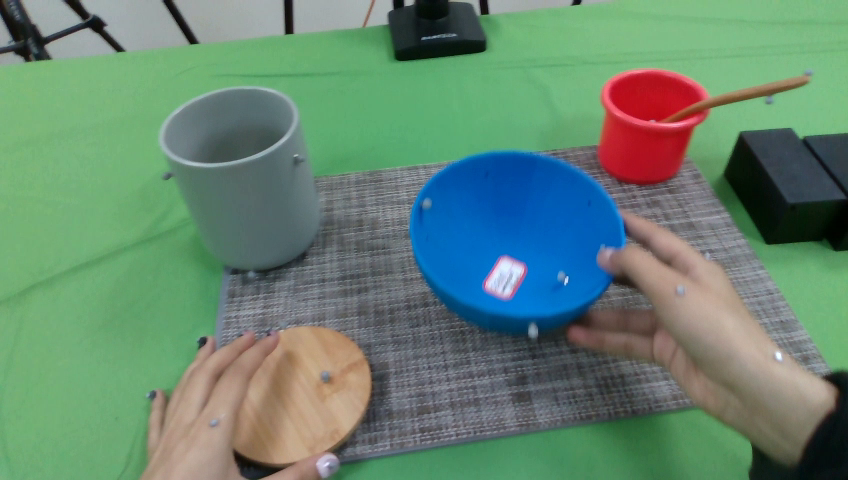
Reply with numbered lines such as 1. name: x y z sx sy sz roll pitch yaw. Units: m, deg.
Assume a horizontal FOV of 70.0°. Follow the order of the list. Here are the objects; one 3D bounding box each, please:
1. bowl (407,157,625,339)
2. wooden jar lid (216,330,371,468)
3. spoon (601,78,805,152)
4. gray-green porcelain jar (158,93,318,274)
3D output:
1. bowl: 0.063 0.018 0.448 0.151 0.077 0.150 0 51 0
2. wooden jar lid: -0.091 0.113 0.433 0.108 0.021 0.107 -2 45 2
3. spoon: 0.239 -0.111 0.545 0.041 0.193 0.022 -42 103 -29
4. gray-green porcelain jar: -0.149 -0.042 0.511 0.106 0.127 0.105 -1 46 2
